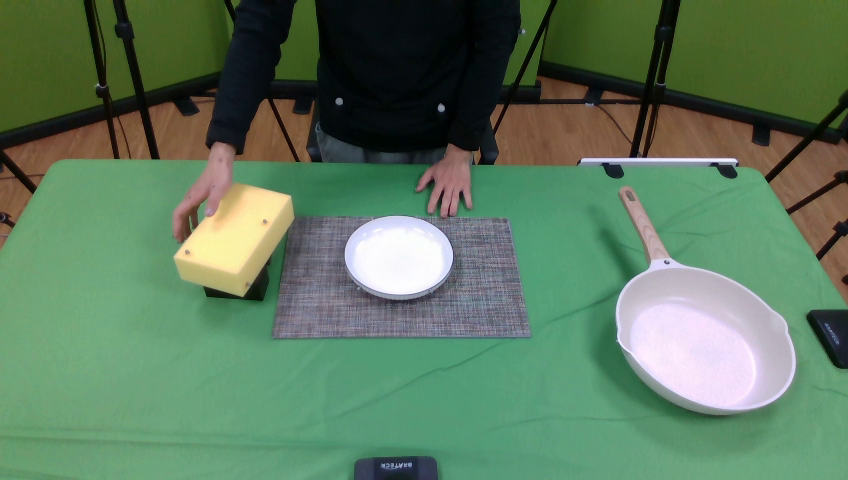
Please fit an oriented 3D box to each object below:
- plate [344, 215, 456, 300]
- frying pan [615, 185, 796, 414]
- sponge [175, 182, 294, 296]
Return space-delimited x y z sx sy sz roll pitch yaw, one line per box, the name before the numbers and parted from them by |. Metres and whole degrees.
plate | -0.045 0.036 1.146 0.208 0.039 0.206 2 46 -2
frying pan | 0.450 0.087 1.092 0.307 0.103 0.484 -4 55 -10
sponge | -0.332 -0.007 1.086 0.118 0.061 0.206 13 47 9
